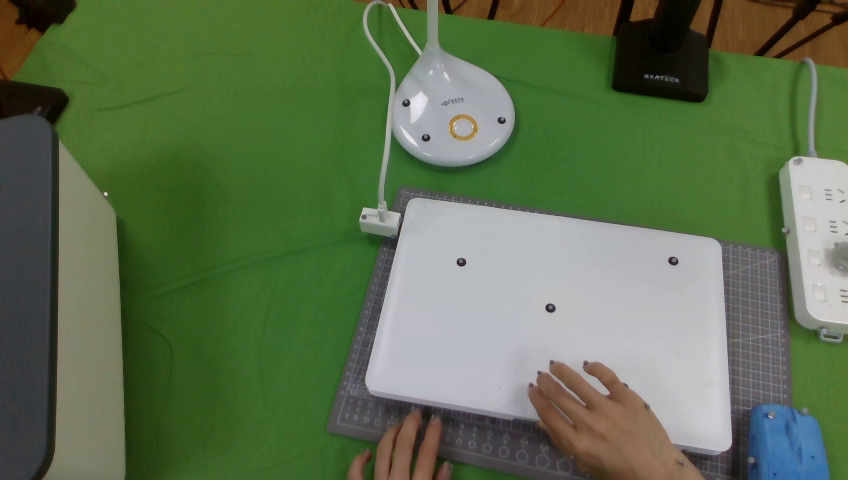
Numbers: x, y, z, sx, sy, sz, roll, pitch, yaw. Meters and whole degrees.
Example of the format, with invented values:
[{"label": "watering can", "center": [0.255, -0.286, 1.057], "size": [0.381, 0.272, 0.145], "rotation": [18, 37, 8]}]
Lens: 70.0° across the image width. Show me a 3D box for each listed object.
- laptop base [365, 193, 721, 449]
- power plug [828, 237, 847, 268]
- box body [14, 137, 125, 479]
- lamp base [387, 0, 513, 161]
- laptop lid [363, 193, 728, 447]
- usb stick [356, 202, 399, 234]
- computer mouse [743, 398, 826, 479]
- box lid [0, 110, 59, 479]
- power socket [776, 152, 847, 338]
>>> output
[{"label": "laptop base", "center": [0.131, 0.076, 0.649], "size": [0.354, 0.023, 0.234], "rotation": [8, 67, 6]}, {"label": "power plug", "center": [0.464, 0.018, 0.635], "size": [0.072, 0.053, 0.035], "rotation": [18, 64, 9]}, {"label": "box body", "center": [-0.445, 0.090, 0.579], "size": [0.254, 0.161, 0.360], "rotation": [-14, 63, -6]}, {"label": "lamp base", "center": [0.024, -0.214, 0.711], "size": [0.161, 0.182, 0.177], "rotation": [-25, 62, -11]}, {"label": "laptop lid", "center": [0.130, 0.069, 0.632], "size": [0.356, 0.013, 0.240], "rotation": [10, 62, 7]}, {"label": "usb stick", "center": [-0.046, -0.024, 0.691], "size": [0.059, 0.027, 0.021], "rotation": [13, 58, 5]}, {"label": "computer mouse", "center": [0.334, 0.204, 0.563], "size": [0.062, 0.041, 0.116], "rotation": [13, 60, 11]}, {"label": "box lid", "center": [-0.447, 0.053, 0.513], "size": [0.263, 0.015, 0.368], "rotation": [-14, 64, -6]}, {"label": "power socket", "center": [0.441, -0.004, 0.673], "size": [0.072, 0.033, 0.225], "rotation": [9, 63, 5]}]
